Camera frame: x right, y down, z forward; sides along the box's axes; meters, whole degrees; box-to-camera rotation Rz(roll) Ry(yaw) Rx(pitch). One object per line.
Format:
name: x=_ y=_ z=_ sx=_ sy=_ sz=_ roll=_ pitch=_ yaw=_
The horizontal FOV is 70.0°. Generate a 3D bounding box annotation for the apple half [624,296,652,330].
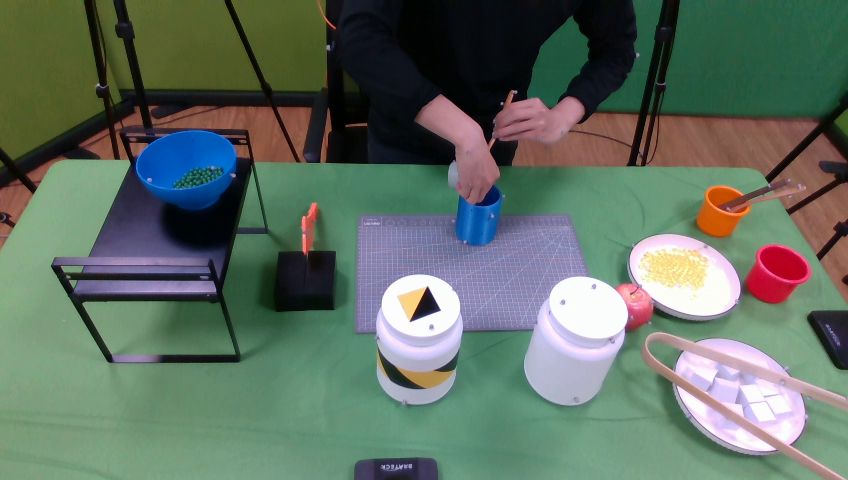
apple half: x=0.368 y=0.135 z=1.060 sx=0.081 sy=0.081 sz=0.032 roll=-11 pitch=43 yaw=-15

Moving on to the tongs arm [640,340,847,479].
tongs arm: x=0.500 y=0.277 z=0.919 sx=0.386 sy=0.028 sz=0.028 roll=34 pitch=59 yaw=22

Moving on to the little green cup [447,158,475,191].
little green cup: x=0.071 y=-0.124 z=1.139 sx=0.038 sy=0.062 sz=0.061 roll=4 pitch=43 yaw=26

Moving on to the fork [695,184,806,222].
fork: x=0.658 y=-0.074 z=1.230 sx=0.207 sy=0.019 sz=0.028 roll=-24 pitch=34 yaw=36

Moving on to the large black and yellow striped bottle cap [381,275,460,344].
large black and yellow striped bottle cap: x=-0.005 y=0.098 z=0.874 sx=0.115 sy=0.019 sz=0.114 roll=2 pitch=45 yaw=-2

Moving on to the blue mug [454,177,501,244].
blue mug: x=0.106 y=-0.067 z=1.208 sx=0.082 sy=0.106 sz=0.116 roll=6 pitch=46 yaw=1

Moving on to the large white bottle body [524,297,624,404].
large white bottle body: x=0.235 y=0.159 z=0.952 sx=0.131 sy=0.185 sz=0.130 roll=2 pitch=47 yaw=-2

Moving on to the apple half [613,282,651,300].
apple half: x=0.356 y=0.109 z=1.086 sx=0.081 sy=0.075 sz=0.053 roll=-13 pitch=44 yaw=-12

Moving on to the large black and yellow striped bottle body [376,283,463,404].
large black and yellow striped bottle body: x=-0.010 y=0.155 z=0.937 sx=0.131 sy=0.185 sz=0.130 roll=2 pitch=47 yaw=-2

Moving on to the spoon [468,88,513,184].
spoon: x=0.125 y=-0.194 z=1.131 sx=0.022 sy=0.041 sz=0.193 roll=29 pitch=84 yaw=-27

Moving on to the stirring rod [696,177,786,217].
stirring rod: x=0.648 y=-0.087 z=1.244 sx=0.176 sy=0.006 sz=0.014 roll=-25 pitch=50 yaw=29

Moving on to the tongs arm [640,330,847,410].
tongs arm: x=0.543 y=0.225 z=0.969 sx=0.384 sy=0.026 sz=0.050 roll=22 pitch=52 yaw=13

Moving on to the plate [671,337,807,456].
plate: x=0.504 y=0.254 z=0.984 sx=0.208 sy=0.039 sz=0.206 roll=2 pitch=46 yaw=-2

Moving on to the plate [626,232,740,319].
plate: x=0.489 y=0.070 z=1.157 sx=0.209 sy=0.038 sz=0.208 roll=3 pitch=46 yaw=-3

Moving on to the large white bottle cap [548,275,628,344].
large white bottle cap: x=0.240 y=0.100 z=0.890 sx=0.115 sy=0.018 sz=0.114 roll=3 pitch=47 yaw=-3

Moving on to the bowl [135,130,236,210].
bowl: x=-0.375 y=-0.102 z=0.978 sx=0.151 sy=0.077 sz=0.150 roll=2 pitch=46 yaw=-2

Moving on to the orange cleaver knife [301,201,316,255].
orange cleaver knife: x=-0.221 y=-0.027 z=1.160 sx=0.012 sy=0.077 sz=0.210 roll=-1 pitch=15 yaw=-4
